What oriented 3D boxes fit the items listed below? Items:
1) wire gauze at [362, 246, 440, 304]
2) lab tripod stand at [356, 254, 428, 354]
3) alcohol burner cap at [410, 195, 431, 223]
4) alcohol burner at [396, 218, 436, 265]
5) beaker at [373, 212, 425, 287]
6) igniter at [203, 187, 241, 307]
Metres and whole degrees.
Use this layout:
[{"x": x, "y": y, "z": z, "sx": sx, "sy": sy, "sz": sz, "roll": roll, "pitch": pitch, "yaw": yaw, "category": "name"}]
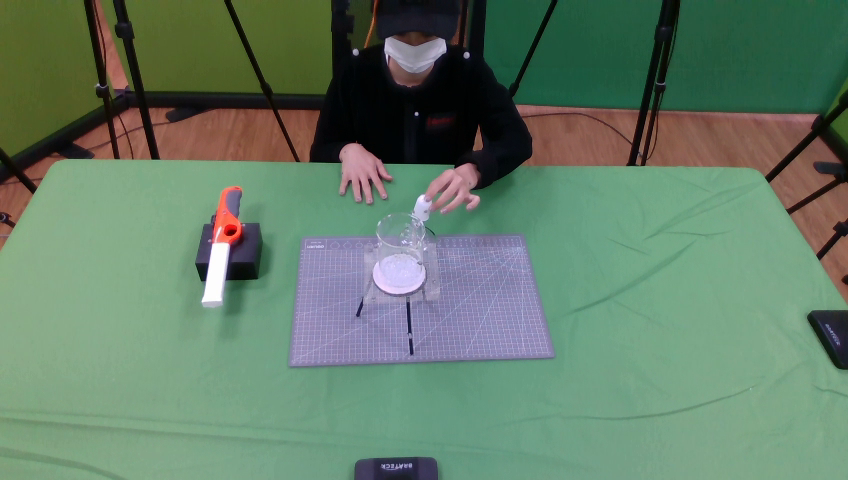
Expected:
[{"x": -0.038, "y": 0.052, "z": 0.972, "sx": 0.121, "sy": 0.011, "sz": 0.124, "roll": 0, "pitch": 44, "yaw": -5, "category": "wire gauze"}, {"x": -0.046, "y": 0.100, "z": 1.017, "sx": 0.148, "sy": 0.132, "sz": 0.147, "roll": 1, "pitch": 47, "yaw": -1, "category": "lab tripod stand"}, {"x": -0.005, "y": -0.058, "z": 1.087, "sx": 0.034, "sy": 0.048, "sz": 0.033, "roll": 9, "pitch": 43, "yaw": -8, "category": "alcohol burner cap"}, {"x": -0.015, "y": -0.011, "z": 1.140, "sx": 0.078, "sy": 0.120, "sz": 0.077, "roll": 2, "pitch": 44, "yaw": -1, "category": "alcohol burner"}, {"x": -0.036, "y": 0.019, "z": 0.936, "sx": 0.074, "sy": 0.101, "sz": 0.083, "roll": -29, "pitch": 54, "yaw": -26, "category": "beaker"}, {"x": -0.365, "y": 0.003, "z": 1.098, "sx": 0.057, "sy": 0.025, "sz": 0.274, "roll": -1, "pitch": 49, "yaw": -7, "category": "igniter"}]
